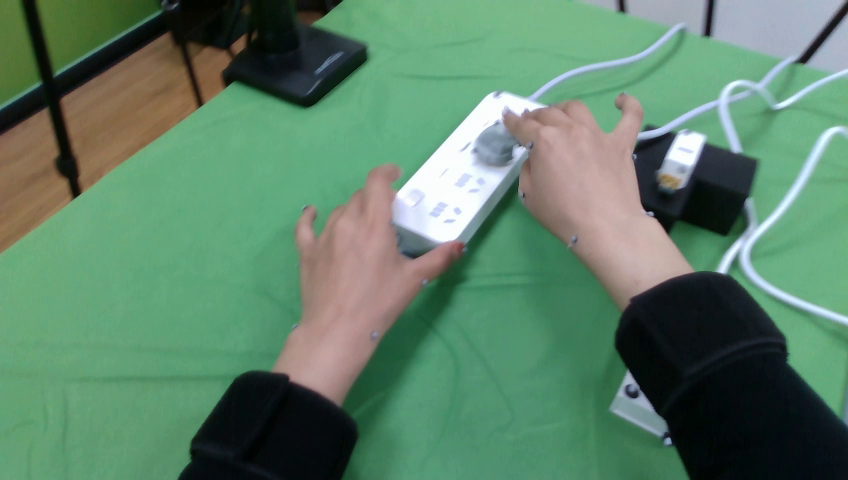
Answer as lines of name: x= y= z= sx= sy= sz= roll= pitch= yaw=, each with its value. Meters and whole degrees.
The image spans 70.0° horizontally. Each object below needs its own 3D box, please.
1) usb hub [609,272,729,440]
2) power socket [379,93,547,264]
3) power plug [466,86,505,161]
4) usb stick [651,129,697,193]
usb hub: x=0.179 y=0.079 z=0.439 sx=0.049 sy=0.025 sz=0.124 roll=24 pitch=52 yaw=21
power socket: x=0.041 y=-0.064 z=0.556 sx=0.072 sy=0.033 sz=0.226 roll=26 pitch=53 yaw=19
power plug: x=0.060 y=-0.099 z=0.557 sx=0.035 sy=0.053 sz=0.072 roll=19 pitch=46 yaw=-1
usb stick: x=0.203 y=-0.063 z=0.495 sx=0.021 sy=0.027 sz=0.059 roll=24 pitch=55 yaw=17
